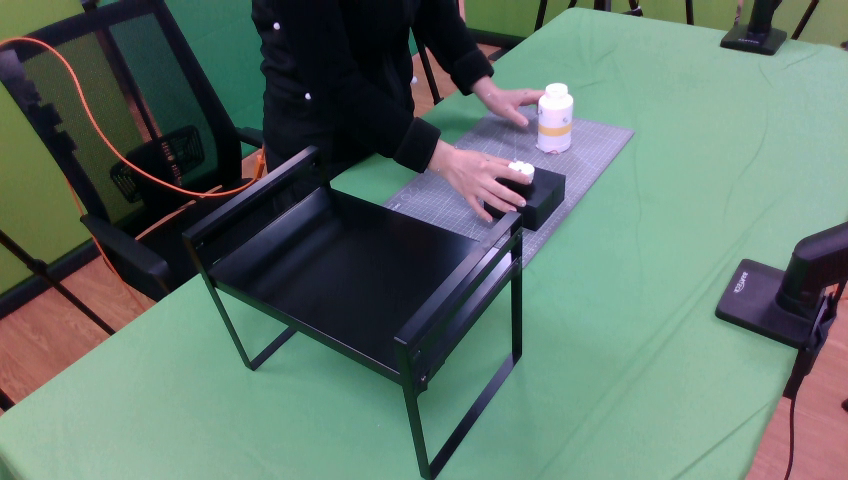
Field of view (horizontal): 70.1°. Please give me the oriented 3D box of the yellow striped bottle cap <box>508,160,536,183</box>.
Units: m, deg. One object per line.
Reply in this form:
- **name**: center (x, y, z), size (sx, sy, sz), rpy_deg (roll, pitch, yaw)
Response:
- **yellow striped bottle cap**: center (0.160, -0.113, 0.990), size (0.044, 0.019, 0.044), rpy_deg (5, 35, -3)

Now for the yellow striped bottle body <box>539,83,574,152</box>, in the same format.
- **yellow striped bottle body**: center (0.247, -0.230, 1.126), size (0.063, 0.121, 0.062), rpy_deg (-5, 41, 4)
